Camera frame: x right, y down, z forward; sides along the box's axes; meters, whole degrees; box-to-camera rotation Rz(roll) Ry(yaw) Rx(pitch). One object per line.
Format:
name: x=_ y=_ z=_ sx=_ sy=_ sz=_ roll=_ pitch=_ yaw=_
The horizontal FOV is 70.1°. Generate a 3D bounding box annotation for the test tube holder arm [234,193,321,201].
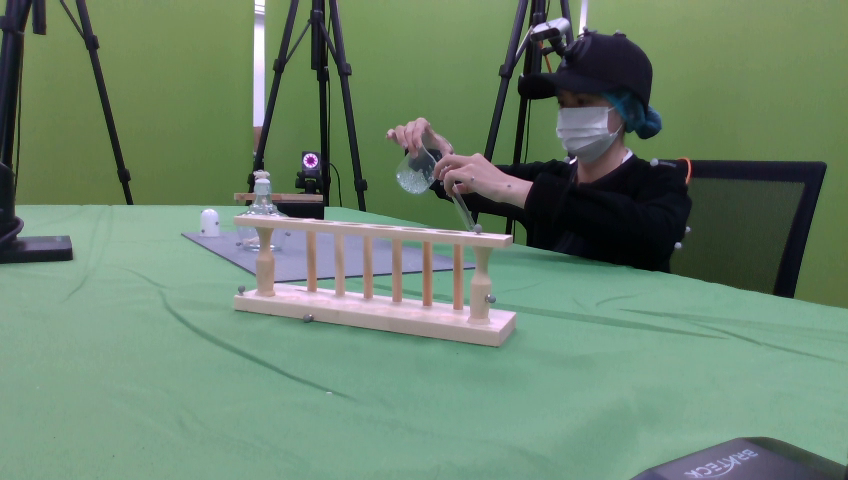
test tube holder arm: x=-0.299 y=-0.088 z=1.248 sx=0.179 sy=0.015 sz=0.013 roll=-1 pitch=16 yaw=-30

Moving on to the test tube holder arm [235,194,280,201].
test tube holder arm: x=-0.336 y=-0.086 z=1.221 sx=0.088 sy=0.015 sz=0.010 roll=-1 pitch=16 yaw=-29

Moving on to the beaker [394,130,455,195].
beaker: x=-0.002 y=-0.134 z=1.092 sx=0.074 sy=0.083 sz=0.100 roll=15 pitch=-43 yaw=-30

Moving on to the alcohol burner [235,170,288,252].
alcohol burner: x=-0.236 y=-0.042 z=0.882 sx=0.078 sy=0.119 sz=0.078 roll=2 pitch=9 yaw=0

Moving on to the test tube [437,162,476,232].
test tube: x=0.053 y=-0.072 z=1.002 sx=0.017 sy=0.017 sz=0.149 roll=-2 pitch=52 yaw=-31

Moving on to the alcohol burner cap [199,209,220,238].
alcohol burner cap: x=-0.356 y=-0.027 z=1.002 sx=0.034 sy=0.048 sz=0.034 roll=2 pitch=7 yaw=0

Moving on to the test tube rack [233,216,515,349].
test tube rack: x=-0.045 y=0.029 z=0.526 sx=0.241 sy=0.085 sz=0.067 roll=5 pitch=8 yaw=19
